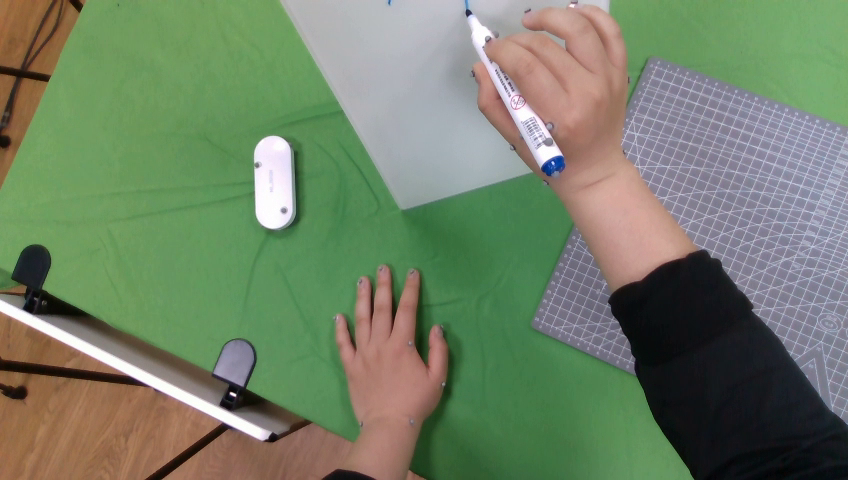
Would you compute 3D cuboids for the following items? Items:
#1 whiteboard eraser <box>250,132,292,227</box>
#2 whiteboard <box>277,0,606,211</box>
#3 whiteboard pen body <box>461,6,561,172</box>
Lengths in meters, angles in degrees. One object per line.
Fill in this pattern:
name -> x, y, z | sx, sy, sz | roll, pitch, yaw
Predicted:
whiteboard eraser -> -0.165, -0.065, 0.649 | 0.041, 0.019, 0.101 | -4, 85, 7
whiteboard -> 0.027, -0.185, 0.522 | 0.217, 0.308, 0.142 | -16, 62, 7
whiteboard pen body -> 0.052, -0.103, 0.395 | 0.017, 0.017, 0.139 | -26, 68, 5
